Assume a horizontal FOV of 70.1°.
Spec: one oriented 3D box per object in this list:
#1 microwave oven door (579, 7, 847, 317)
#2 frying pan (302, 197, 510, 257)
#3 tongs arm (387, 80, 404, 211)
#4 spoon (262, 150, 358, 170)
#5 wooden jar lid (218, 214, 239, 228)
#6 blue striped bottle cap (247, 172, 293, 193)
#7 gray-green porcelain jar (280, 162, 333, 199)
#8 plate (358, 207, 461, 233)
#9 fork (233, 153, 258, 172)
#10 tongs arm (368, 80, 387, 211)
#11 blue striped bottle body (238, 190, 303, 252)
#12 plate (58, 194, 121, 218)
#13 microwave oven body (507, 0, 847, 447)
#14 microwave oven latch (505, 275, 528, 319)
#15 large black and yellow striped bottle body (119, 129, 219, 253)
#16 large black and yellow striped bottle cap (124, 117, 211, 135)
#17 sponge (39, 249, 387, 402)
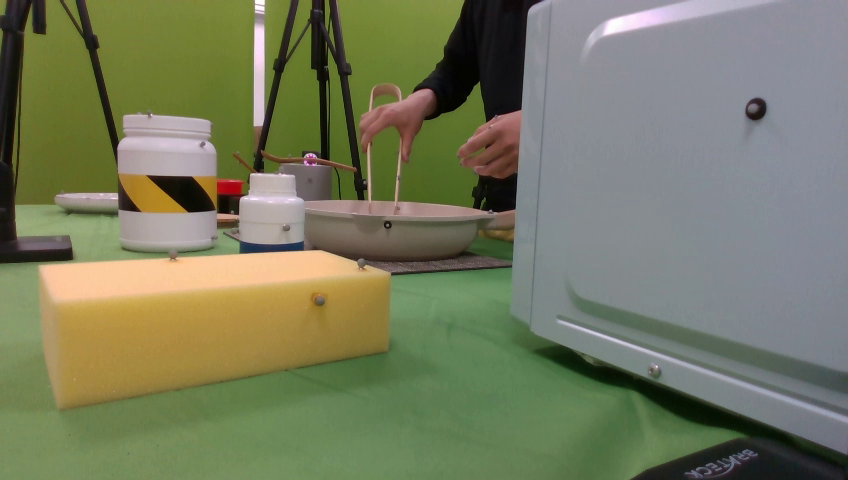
[{"bbox_3d":[0.294,-0.067,0.570,0.358,0.243,0.039,-3,9,-31],"label":"microwave oven door"},{"bbox_3d":[0.051,-0.035,0.915,0.487,0.102,0.307,-5,7,11],"label":"frying pan"},{"bbox_3d":[-0.062,-0.190,1.142,0.051,0.026,0.384,3,46,0],"label":"tongs arm"},{"bbox_3d":[-0.229,-0.162,1.222,0.194,0.021,0.041,4,4,-16],"label":"spoon"},{"bbox_3d":[-0.404,-0.037,1.169,0.108,0.020,0.108,3,7,0],"label":"wooden jar lid"},{"bbox_3d":[-0.152,-0.057,0.598,0.044,0.020,0.044,3,6,0],"label":"blue striped bottle cap"},{"bbox_3d":[-0.238,-0.092,1.221,0.106,0.126,0.106,2,7,0],"label":"gray-green porcelain jar"},{"bbox_3d":[-0.030,-0.041,1.213,0.208,0.039,0.207,3,7,0],"label":"plate"},{"bbox_3d":[-0.396,-0.143,1.486,0.028,0.018,0.208,20,-26,45],"label":"fork"},{"bbox_3d":[-0.089,-0.190,1.141,0.028,0.028,0.386,-2,46,1],"label":"tongs arm"},{"bbox_3d":[-0.153,-0.007,0.606,0.063,0.120,0.063,2,8,0],"label":"blue striped bottle body"},{"bbox_3d":[-0.671,-0.074,1.310,0.209,0.038,0.209,2,8,0],"label":"plate"},{"bbox_3d":[0.331,-0.042,0.425,0.444,0.260,0.324,-2,8,-31],"label":"microwave oven body"},{"bbox_3d":[0.100,0.041,0.471,0.079,0.029,0.030,-1,7,-28],"label":"microwave oven latch"},{"bbox_3d":[-0.367,-0.080,0.876,0.131,0.184,0.130,1,7,0],"label":"large black and yellow striped bottle body"},{"bbox_3d":[-0.366,-0.163,0.866,0.115,0.019,0.115,3,7,0],"label":"large black and yellow striped bottle cap"},{"bbox_3d":[-0.142,0.047,0.420,0.208,0.061,0.117,-3,8,-36],"label":"sponge"}]
